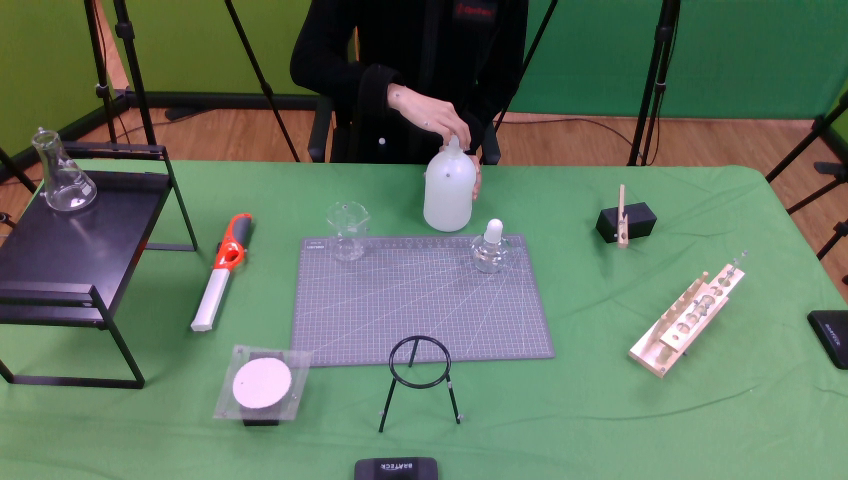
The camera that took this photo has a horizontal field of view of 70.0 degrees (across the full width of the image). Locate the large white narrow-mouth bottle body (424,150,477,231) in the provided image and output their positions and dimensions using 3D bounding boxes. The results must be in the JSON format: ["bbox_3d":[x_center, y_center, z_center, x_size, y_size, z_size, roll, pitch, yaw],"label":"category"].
[{"bbox_3d":[0.054,-0.115,1.191,0.102,0.195,0.101,2,46,-2],"label":"large white narrow-mouth bottle body"}]

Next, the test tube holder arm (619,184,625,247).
[{"bbox_3d":[0.396,-0.052,1.210,0.013,0.015,0.177,14,46,2],"label":"test tube holder arm"}]

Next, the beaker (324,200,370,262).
[{"bbox_3d":[-0.143,-0.015,1.142,0.084,0.101,0.073,1,46,-4],"label":"beaker"}]

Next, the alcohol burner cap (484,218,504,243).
[{"bbox_3d":[0.130,-0.021,1.106,0.034,0.048,0.033,3,51,-4],"label":"alcohol burner cap"}]

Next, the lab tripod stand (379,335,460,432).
[{"bbox_3d":[-0.011,0.214,0.911,0.148,0.132,0.147,1,45,0],"label":"lab tripod stand"}]

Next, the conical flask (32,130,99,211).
[{"bbox_3d":[-0.565,-0.111,0.944,0.075,0.122,0.075,2,46,-2],"label":"conical flask"}]

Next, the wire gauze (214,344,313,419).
[{"bbox_3d":[-0.241,0.213,0.916,0.121,0.011,0.124,5,46,1],"label":"wire gauze"}]

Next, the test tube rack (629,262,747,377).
[{"bbox_3d":[0.464,0.126,1.060,0.242,0.085,0.066,-34,56,-31],"label":"test tube rack"}]

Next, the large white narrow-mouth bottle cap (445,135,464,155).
[{"bbox_3d":[0.057,-0.177,1.125,0.038,0.024,0.037,2,46,-2],"label":"large white narrow-mouth bottle cap"}]

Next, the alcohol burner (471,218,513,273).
[{"bbox_3d":[0.128,0.005,1.132,0.078,0.120,0.077,0,47,0],"label":"alcohol burner"}]

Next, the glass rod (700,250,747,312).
[{"bbox_3d":[0.500,0.075,1.021,0.008,0.201,0.008,0,54,1],"label":"glass rod"}]

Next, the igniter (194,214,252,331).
[{"bbox_3d":[-0.367,0.050,1.119,0.057,0.025,0.275,-4,46,7],"label":"igniter"}]

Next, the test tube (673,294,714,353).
[{"bbox_3d":[0.428,0.137,0.978,0.017,0.151,0.017,4,47,-4],"label":"test tube"}]

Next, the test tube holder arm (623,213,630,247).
[{"bbox_3d":[0.393,-0.020,1.179,0.010,0.015,0.087,13,46,2],"label":"test tube holder arm"}]
